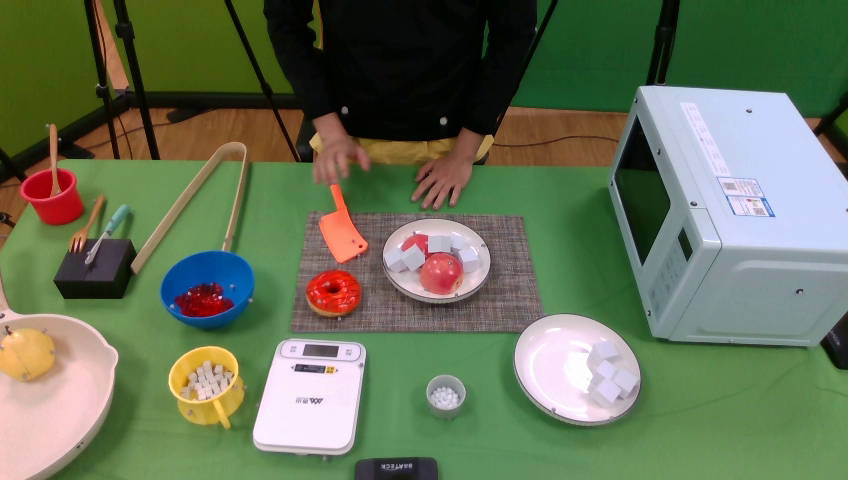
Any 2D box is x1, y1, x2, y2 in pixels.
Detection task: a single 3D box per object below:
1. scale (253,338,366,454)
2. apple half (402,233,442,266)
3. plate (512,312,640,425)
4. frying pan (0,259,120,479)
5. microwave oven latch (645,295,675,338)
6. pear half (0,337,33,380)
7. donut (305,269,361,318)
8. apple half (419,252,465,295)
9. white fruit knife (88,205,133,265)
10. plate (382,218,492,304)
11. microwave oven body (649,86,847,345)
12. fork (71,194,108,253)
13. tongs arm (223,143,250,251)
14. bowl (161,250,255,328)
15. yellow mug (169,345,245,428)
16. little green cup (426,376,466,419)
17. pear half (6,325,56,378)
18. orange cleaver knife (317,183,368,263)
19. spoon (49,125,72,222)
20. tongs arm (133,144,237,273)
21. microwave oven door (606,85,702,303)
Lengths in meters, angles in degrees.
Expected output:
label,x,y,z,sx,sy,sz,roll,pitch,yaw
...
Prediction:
label,x,y,z,sx,sy,sz,roll,pitch,yaw
scale,-0.175,0.236,0.951,0.149,0.032,0.199,5,45,-1
apple half,-0.004,0.013,1.160,0.081,0.033,0.081,4,45,-4
plate,0.246,0.213,0.999,0.208,0.039,0.206,2,46,-2
frying pan,-0.647,0.164,0.936,0.307,0.103,0.485,-19,58,-22
microwave oven latch,0.412,0.134,1.061,0.030,0.029,0.078,3,45,0
pear half,-0.631,0.184,0.921,0.070,0.088,0.031,29,49,19
donut,-0.160,0.094,1.075,0.099,0.048,0.098,4,45,-3
apple half,0.035,0.056,1.109,0.074,0.053,0.081,37,55,25
white fruit knife,-0.584,-0.013,1.129,0.016,0.027,0.206,0,32,-5
plate,0.023,0.042,1.143,0.209,0.038,0.208,2,46,-2
microwave oven body,0.567,-0.053,1.118,0.326,0.261,0.439,2,45,-1
fork,-0.634,-0.036,1.158,0.028,0.019,0.206,-7,31,-8
tongs arm,-0.396,-0.073,1.232,0.051,0.026,0.382,-2,45,1
bowl,-0.362,0.098,1.040,0.151,0.077,0.150,2,45,-2
yellow mug,-0.322,0.230,0.922,0.100,0.064,0.130,-24,53,-25
little green cup,0.033,0.248,0.950,0.061,0.039,0.061,2,46,-2
pear half,-0.608,0.158,0.935,0.076,0.110,0.056,31,51,20
orange cleaver knife,-0.174,-0.037,1.218,0.077,0.012,0.210,-16,51,-12
spoon,-0.718,-0.131,1.189,0.041,0.021,0.193,-4,90,-6
tongs arm,-0.480,-0.078,1.236,0.028,0.028,0.385,6,45,13
microwave oven door,0.422,-0.094,1.140,0.039,0.245,0.353,2,46,-1
